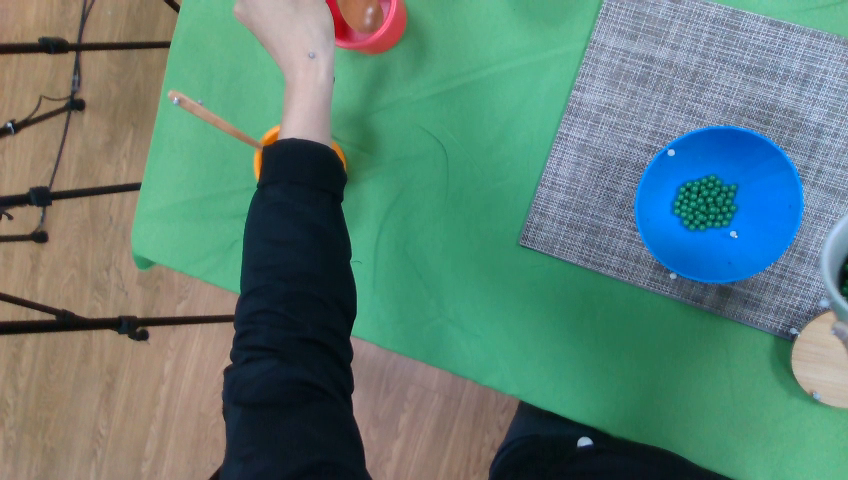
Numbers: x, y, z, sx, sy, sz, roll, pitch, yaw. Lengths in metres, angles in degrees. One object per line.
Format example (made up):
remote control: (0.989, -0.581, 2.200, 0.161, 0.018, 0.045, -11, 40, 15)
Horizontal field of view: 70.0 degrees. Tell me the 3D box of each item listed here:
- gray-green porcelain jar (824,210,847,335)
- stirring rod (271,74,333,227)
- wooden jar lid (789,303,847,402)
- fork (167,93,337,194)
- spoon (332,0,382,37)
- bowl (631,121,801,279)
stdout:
gray-green porcelain jar: (0.360, 0.034, 0.442, 0.105, 0.128, 0.105, -19, 55, 30)
stirring rod: (-0.135, -0.096, 0.664, 0.014, 0.006, 0.176, 23, 101, 7)
wooden jar lid: (0.436, 0.114, 0.626, 0.108, 0.020, 0.108, 3, 102, 15)
fork: (-0.186, -0.106, 0.676, 0.209, 0.018, 0.028, 28, 116, -36)
spoon: (-0.106, -0.260, 0.593, 0.021, 0.195, 0.041, 41, 100, 32)
bowl: (0.284, -0.040, 0.612, 0.151, 0.077, 0.151, 1, 96, 13)
